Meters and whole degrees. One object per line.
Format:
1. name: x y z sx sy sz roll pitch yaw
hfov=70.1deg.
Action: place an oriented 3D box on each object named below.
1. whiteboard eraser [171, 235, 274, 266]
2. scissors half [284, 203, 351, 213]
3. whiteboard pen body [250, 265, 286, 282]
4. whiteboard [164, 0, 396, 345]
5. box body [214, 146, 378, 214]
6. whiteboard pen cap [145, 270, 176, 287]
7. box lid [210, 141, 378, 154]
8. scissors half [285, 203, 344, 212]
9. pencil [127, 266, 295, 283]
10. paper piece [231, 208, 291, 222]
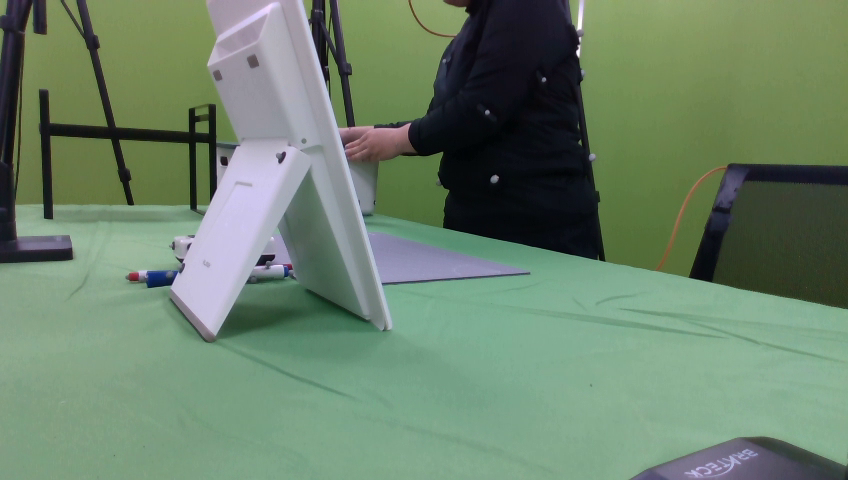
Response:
1. whiteboard eraser: -0.248 0.014 0.747 0.113 0.042 0.055 -1 9 -32
2. scissors half: -0.268 -0.079 1.535 0.176 0.013 0.040 -7 12 -23
3. whiteboard pen body: -0.220 0.039 0.656 0.141 0.017 0.017 -2 9 -30
4. whiteboard: -0.173 -0.053 0.511 0.144 0.305 0.216 -23 19 -26
5. box body: -0.328 -0.154 1.543 0.366 0.160 0.253 -2 9 -32
6. whiteboard pen cap: -0.271 0.039 0.627 0.033 0.018 0.018 -3 10 -32
7. box lid: -0.329 -0.232 1.525 0.373 0.015 0.262 -3 11 -32
8. scissors half: -0.280 -0.081 1.552 0.040 0.013 0.176 1 9 45
9. pencil: -0.231 0.037 0.691 0.195 0.012 0.012 -2 9 -34
10. paper piece: -0.395 -0.061 1.461 0.139 0.008 0.135 13 -3 -22
